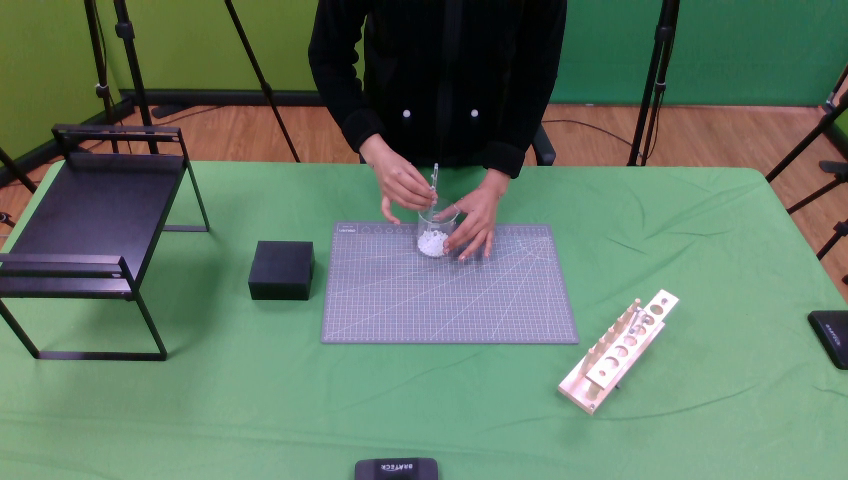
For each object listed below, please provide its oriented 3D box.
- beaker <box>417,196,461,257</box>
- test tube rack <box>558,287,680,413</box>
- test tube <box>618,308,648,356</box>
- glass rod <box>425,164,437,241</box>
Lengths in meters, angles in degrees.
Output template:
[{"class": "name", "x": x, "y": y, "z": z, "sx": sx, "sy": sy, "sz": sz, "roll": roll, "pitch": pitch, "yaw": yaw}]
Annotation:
[{"class": "beaker", "x": 0.025, "y": -0.023, "z": 1.159, "sx": 0.084, "sy": 0.101, "sz": 0.073, "roll": -7, "pitch": 48, "yaw": -11}, {"class": "test tube rack", "x": 0.326, "y": 0.170, "z": 1.009, "sx": 0.066, "sy": 0.085, "sz": 0.242, "roll": 36, "pitch": 54, "yaw": 26}, {"class": "test tube", "x": 0.326, "y": 0.155, "z": 0.955, "sx": 0.017, "sy": 0.151, "sz": 0.017, "roll": -1, "pitch": 50, "yaw": 1}, {"class": "glass rod", "x": 0.012, "y": -0.065, "z": 1.118, "sx": 0.008, "sy": 0.200, "sz": 0.008, "roll": 3, "pitch": 49, "yaw": -3}]
